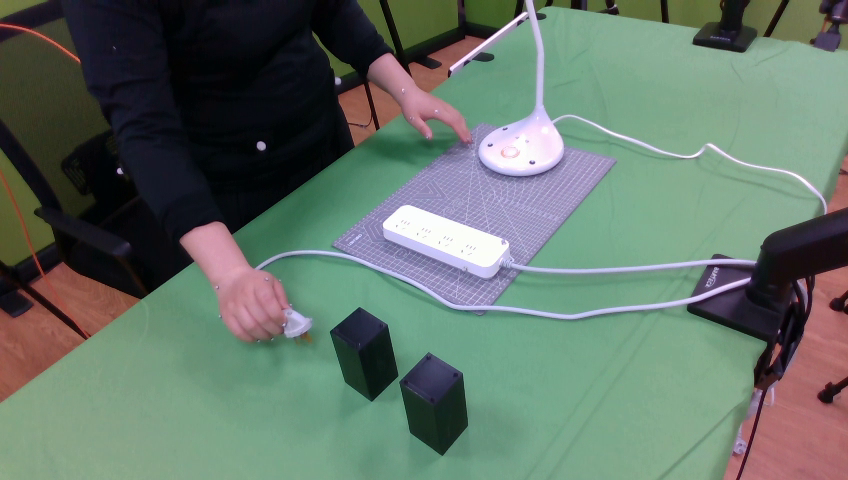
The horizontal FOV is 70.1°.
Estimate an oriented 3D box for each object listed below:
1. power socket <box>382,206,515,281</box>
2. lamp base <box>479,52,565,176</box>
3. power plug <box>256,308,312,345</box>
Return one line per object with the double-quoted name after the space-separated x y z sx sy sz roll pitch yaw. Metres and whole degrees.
0.032 0.002 0.950 0.225 0.033 0.072 21 49 29 "power socket"
0.181 -0.235 1.093 0.159 0.181 0.179 18 44 27 "lamp base"
-0.179 0.115 0.799 0.072 0.053 0.035 -7 23 39 "power plug"
